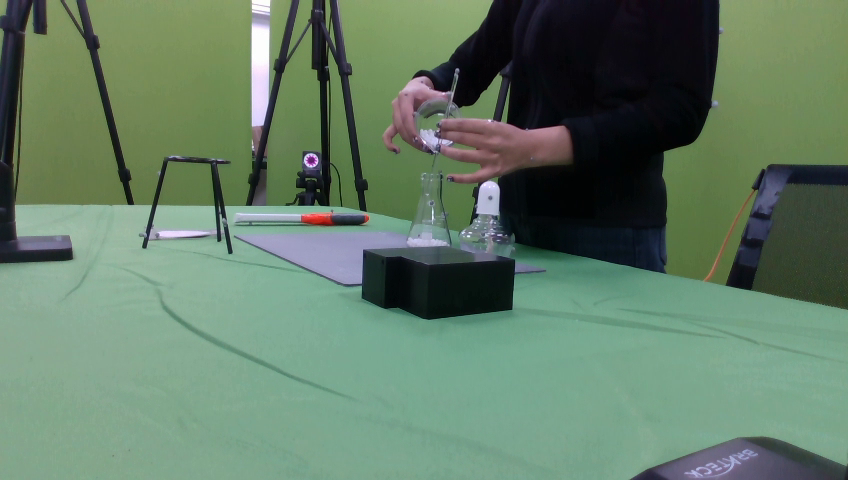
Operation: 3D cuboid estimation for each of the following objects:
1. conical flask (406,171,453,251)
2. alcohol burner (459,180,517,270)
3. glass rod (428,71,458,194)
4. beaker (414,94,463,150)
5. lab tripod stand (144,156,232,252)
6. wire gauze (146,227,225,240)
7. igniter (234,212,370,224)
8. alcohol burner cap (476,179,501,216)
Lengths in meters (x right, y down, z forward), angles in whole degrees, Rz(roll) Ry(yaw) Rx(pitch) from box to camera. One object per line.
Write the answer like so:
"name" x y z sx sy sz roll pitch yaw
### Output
"conical flask" 0.011 -0.046 0.948 0.075 0.122 0.075 2 8 0
"alcohol burner" 0.086 -0.021 0.805 0.078 0.119 0.078 3 10 0
"glass rod" 0.027 -0.154 0.900 0.008 0.199 0.008 9 33 -6
"beaker" 0.024 -0.180 0.958 0.074 0.084 0.100 5 3 2
"lab tripod stand" -0.325 -0.054 0.881 0.148 0.131 0.148 4 7 0
"wire gauze" -0.400 -0.012 1.019 0.122 0.011 0.124 -1 6 -26
"igniter" -0.247 -0.046 1.253 0.278 0.025 0.057 -1 -3 -27
"alcohol burner cap" 0.086 -0.057 0.801 0.034 0.048 0.034 4 3 0
